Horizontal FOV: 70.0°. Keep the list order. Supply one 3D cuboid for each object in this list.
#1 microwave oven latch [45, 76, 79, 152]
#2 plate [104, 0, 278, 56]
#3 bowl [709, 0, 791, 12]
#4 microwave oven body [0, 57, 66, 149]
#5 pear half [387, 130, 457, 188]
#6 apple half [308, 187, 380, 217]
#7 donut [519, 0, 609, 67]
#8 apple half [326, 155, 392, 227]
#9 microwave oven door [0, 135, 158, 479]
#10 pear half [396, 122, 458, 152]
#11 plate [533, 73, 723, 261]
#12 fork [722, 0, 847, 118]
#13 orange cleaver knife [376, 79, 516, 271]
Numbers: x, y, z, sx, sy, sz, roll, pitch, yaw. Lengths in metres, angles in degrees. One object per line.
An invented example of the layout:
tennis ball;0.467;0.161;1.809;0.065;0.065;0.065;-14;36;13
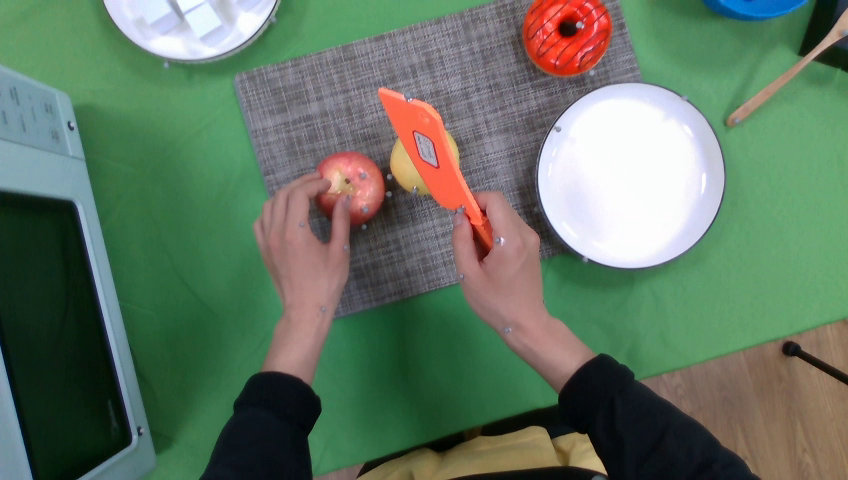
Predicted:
microwave oven latch;-0.405;-0.136;0.663;0.030;0.029;0.079;-12;92;0
plate;-0.257;-0.308;0.680;0.208;0.039;0.207;0;91;0
bowl;0.348;-0.316;0.662;0.151;0.077;0.151;0;91;0
microwave oven body;-0.508;0.071;0.570;0.326;0.260;0.441;-14;91;0
pear half;-0.005;-0.085;0.644;0.076;0.110;0.056;14;90;3
apple half;-0.087;-0.039;0.662;0.081;0.081;0.033;3;89;0
donut;0.155;-0.242;0.675;0.099;0.048;0.099;0;92;3
apple half;-0.077;-0.060;0.662;0.053;0.074;0.081;34;96;2
microwave oven door;-0.357;0.079;0.566;0.039;0.244;0.355;-14;90;0
pear half;0.005;-0.118;0.654;0.070;0.088;0.031;13;90;5
plate;0.225;-0.080;0.681;0.209;0.038;0.209;0;91;0
fork;0.414;-0.209;0.659;0.028;0.018;0.207;43;111;-8
orange cleaver knife;0.023;-0.051;0.535;0.012;0.076;0.213;-46;127;-18
